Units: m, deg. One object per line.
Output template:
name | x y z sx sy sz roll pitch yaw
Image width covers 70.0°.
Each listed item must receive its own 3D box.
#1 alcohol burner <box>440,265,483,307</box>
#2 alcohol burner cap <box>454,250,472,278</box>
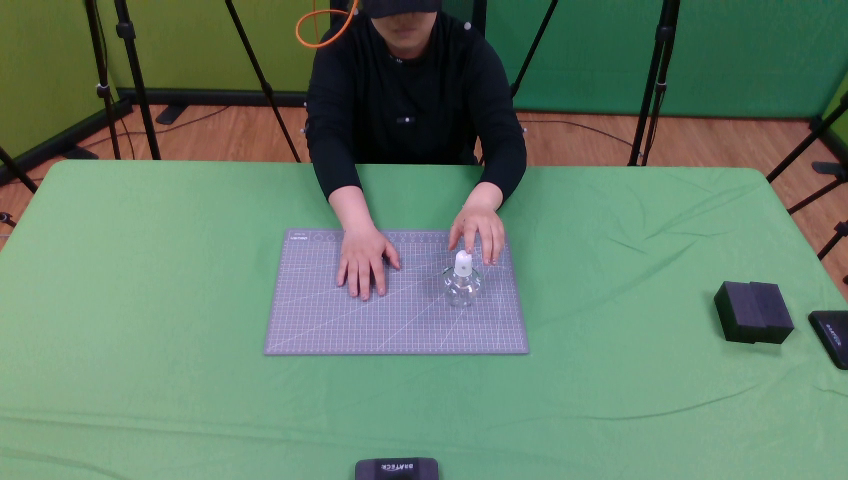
alcohol burner | 0.068 0.064 1.076 0.078 0.120 0.077 1 45 -1
alcohol burner cap | 0.068 0.038 1.049 0.034 0.048 0.033 -2 45 2
